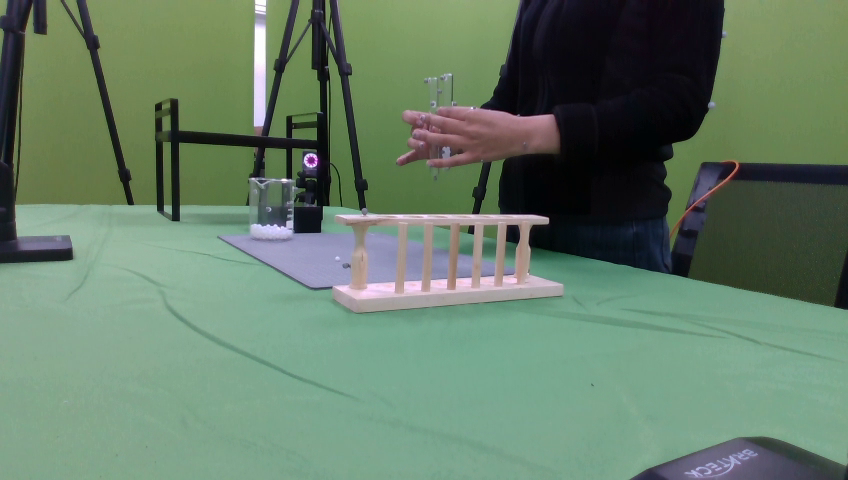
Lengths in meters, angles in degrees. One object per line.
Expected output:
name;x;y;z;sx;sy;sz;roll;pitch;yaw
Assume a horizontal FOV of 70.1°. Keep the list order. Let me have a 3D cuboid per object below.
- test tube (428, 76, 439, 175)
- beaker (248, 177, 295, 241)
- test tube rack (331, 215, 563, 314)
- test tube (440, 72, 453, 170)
test tube;0.015;-0.174;0.931;0.017;0.150;0.017;-1;16;1
beaker;-0.252;-0.051;0.992;0.074;0.100;0.084;3;9;6
test tube rack;0.031;0.019;0.625;0.243;0.085;0.066;-1;8;-28
test tube;0.035;-0.184;0.943;0.017;0.150;0.017;1;12;0
